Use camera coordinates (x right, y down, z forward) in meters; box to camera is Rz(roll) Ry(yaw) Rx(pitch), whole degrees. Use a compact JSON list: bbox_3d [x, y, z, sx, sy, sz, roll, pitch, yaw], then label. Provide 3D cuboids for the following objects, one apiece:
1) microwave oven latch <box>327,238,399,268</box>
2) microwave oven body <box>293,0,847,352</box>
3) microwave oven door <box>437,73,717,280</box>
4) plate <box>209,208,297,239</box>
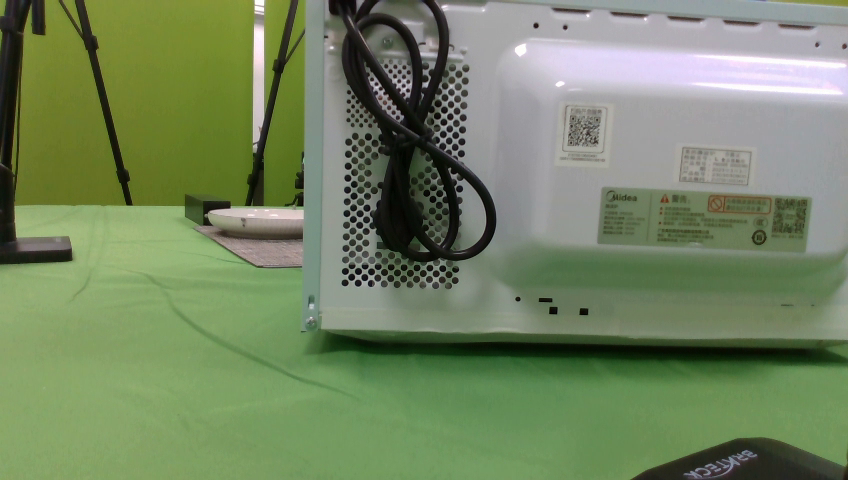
[{"bbox_3d":[-0.069,0.015,0.694,0.079,0.029,0.030,3,7,-3],"label":"microwave oven latch"},{"bbox_3d":[0.122,-0.055,0.550,0.442,0.260,0.325,3,7,-5],"label":"microwave oven body"},{"bbox_3d":[0.182,-0.090,0.799,0.354,0.243,0.039,7,8,32],"label":"microwave oven door"},{"bbox_3d":[-0.271,-0.029,1.074,0.208,0.039,0.207,3,7,0],"label":"plate"}]
